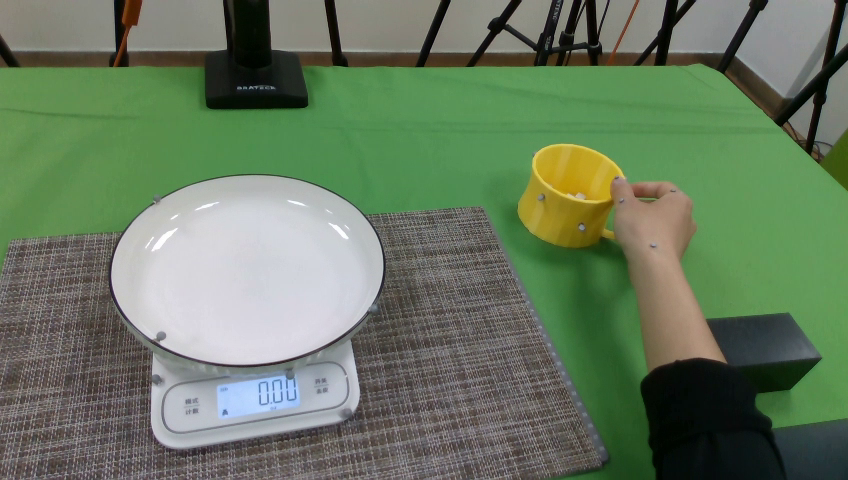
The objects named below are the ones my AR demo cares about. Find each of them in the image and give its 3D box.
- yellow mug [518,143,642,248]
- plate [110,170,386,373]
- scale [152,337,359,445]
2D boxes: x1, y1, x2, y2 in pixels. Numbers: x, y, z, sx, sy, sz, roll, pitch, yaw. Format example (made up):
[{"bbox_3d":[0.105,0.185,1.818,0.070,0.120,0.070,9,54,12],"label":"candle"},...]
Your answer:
[{"bbox_3d":[0.171,-0.042,0.649,0.130,0.064,0.099,30,47,16],"label":"yellow mug"},{"bbox_3d":[-0.136,0.022,0.491,0.209,0.038,0.207,6,45,-6],"label":"plate"},{"bbox_3d":[-0.139,0.062,0.497,0.149,0.032,0.198,-4,47,-16],"label":"scale"}]
